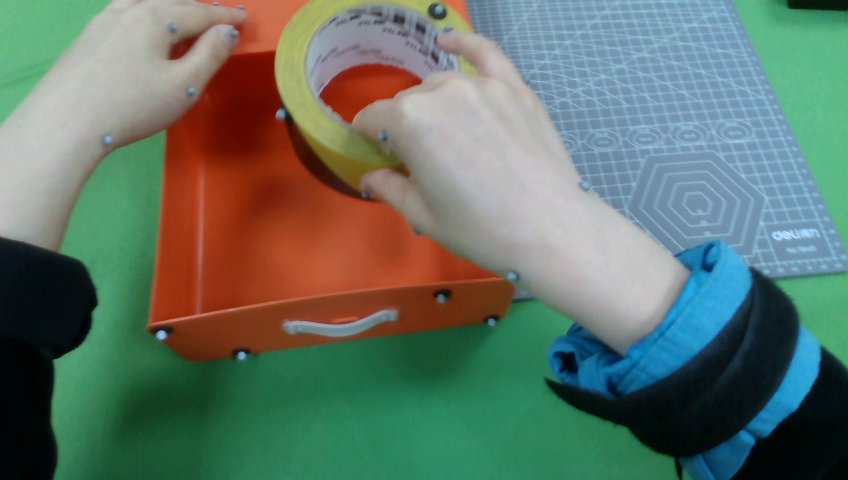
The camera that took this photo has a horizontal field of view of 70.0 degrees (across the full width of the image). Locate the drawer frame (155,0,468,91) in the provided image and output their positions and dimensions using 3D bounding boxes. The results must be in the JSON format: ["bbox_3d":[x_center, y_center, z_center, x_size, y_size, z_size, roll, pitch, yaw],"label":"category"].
[{"bbox_3d":[-0.084,-0.195,0.458,0.202,0.083,0.211,-8,62,-5],"label":"drawer frame"}]

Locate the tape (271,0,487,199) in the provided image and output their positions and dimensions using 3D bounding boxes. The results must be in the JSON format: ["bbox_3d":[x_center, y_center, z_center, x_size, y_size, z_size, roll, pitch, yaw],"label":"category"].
[{"bbox_3d":[-0.023,-0.084,0.336,0.117,0.053,0.116,2,73,-7],"label":"tape"}]

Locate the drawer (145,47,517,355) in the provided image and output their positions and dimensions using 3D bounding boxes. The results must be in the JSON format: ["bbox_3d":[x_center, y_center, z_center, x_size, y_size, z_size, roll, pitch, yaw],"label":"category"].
[{"bbox_3d":[-0.060,-0.044,0.384,0.195,0.074,0.210,-7,64,-4],"label":"drawer"}]
